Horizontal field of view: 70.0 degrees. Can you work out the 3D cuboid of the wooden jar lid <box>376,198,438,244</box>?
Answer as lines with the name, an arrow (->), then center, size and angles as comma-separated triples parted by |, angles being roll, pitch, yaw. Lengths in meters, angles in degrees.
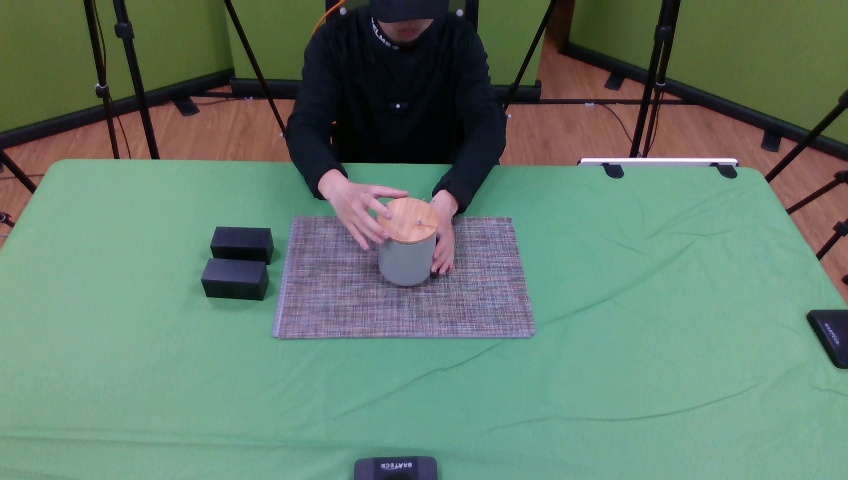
wooden jar lid -> -0.029, -0.030, 1.061 | 0.108, 0.021, 0.107 | 1, 47, -1

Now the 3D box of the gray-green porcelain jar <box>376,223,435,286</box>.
gray-green porcelain jar -> -0.034, 0.014, 1.105 | 0.106, 0.127, 0.105 | 2, 46, -2
